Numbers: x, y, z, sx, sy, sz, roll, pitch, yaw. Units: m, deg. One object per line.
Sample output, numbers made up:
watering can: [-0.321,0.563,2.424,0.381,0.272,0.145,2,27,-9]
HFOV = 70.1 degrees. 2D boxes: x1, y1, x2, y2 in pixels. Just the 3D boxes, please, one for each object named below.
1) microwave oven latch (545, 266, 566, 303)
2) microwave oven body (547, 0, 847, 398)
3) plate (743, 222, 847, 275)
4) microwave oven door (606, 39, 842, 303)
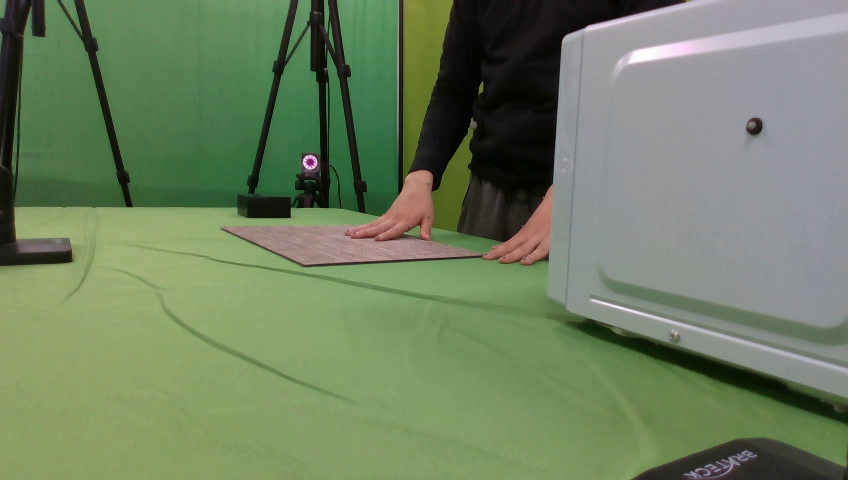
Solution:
microwave oven latch: [0.147,0.038,0.555,0.079,0.029,0.030,-2,7,-29]
microwave oven body: [0.378,-0.045,0.509,0.444,0.260,0.324,-2,8,-31]
plate: [0.407,0.008,0.553,0.209,0.038,0.209,2,5,0]
microwave oven door: [0.341,-0.070,0.654,0.358,0.243,0.039,-3,9,-31]
